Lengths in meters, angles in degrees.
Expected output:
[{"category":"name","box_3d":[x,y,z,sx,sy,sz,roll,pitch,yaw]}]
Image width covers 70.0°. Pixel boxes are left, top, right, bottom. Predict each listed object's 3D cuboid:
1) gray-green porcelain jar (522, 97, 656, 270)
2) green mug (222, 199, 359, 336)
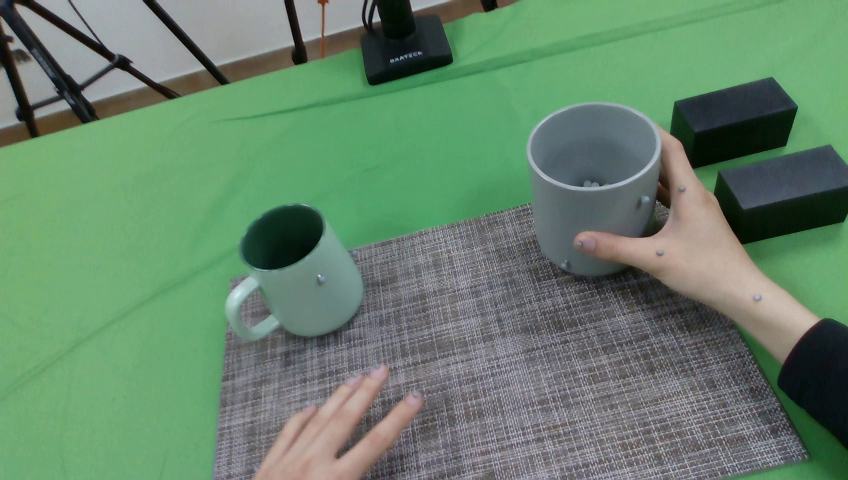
[{"category":"gray-green porcelain jar","box_3d":[0.144,-0.043,0.533,0.106,0.128,0.105,-7,50,9]},{"category":"green mug","box_3d":[-0.127,0.036,0.555,0.091,0.106,0.125,31,65,33]}]
